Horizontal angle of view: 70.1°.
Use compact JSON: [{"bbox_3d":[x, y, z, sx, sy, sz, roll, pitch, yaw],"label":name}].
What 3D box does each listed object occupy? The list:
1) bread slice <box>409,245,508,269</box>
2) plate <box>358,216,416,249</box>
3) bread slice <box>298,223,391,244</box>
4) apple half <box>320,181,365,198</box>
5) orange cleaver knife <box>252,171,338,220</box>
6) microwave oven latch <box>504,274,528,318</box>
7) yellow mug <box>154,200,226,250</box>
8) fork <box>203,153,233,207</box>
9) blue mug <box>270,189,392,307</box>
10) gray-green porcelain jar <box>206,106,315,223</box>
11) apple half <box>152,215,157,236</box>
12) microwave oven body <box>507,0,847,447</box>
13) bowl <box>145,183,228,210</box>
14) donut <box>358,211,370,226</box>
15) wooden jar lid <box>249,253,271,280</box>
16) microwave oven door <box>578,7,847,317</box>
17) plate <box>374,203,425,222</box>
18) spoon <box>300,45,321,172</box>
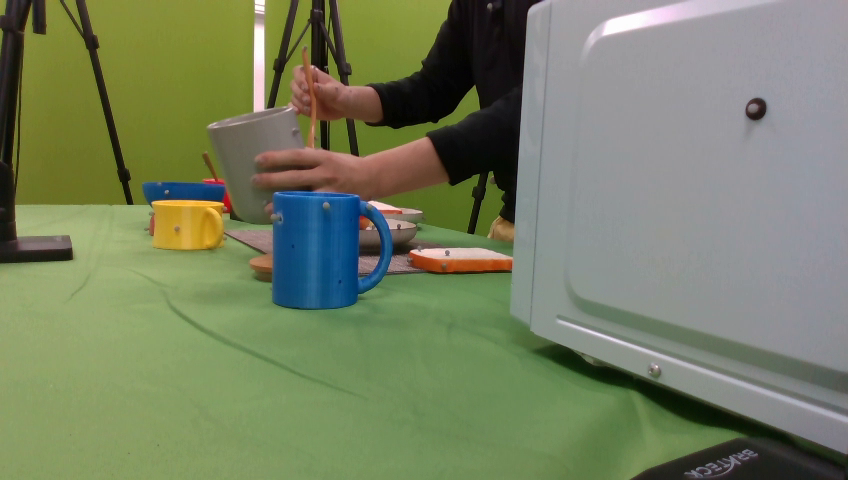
[{"bbox_3d":[0.048,0.021,0.816,0.132,0.019,0.104,-1,7,-24],"label":"bread slice"},{"bbox_3d":[-0.116,-0.014,0.967,0.208,0.039,0.207,2,7,0],"label":"plate"},{"bbox_3d":[-0.121,-0.012,0.971,0.106,0.018,0.135,9,12,42],"label":"bread slice"},{"bbox_3d":[-0.130,-0.077,0.952,0.081,0.033,0.081,4,13,-1],"label":"apple half"},{"bbox_3d":[-0.283,-0.087,1.343,0.212,0.077,0.012,24,-16,-41],"label":"orange cleaver knife"},{"bbox_3d":[0.100,0.041,0.471,0.079,0.029,0.030,-1,7,-28],"label":"microwave oven latch"},{"bbox_3d":[-0.337,-0.023,0.899,0.130,0.064,0.100,8,9,35],"label":"yellow mug"},{"bbox_3d":[-0.480,-0.135,1.411,0.028,0.018,0.207,1,-34,0],"label":"fork"},{"bbox_3d":[-0.089,0.005,0.588,0.117,0.106,0.082,1,7,-10],"label":"blue mug"},{"bbox_3d":[-0.198,-0.093,0.754,0.106,0.126,0.105,-12,20,5],"label":"gray-green porcelain jar"},{"bbox_3d":[-0.415,-0.034,1.017,0.081,0.053,0.074,1,10,-9],"label":"apple half"},{"bbox_3d":[0.331,-0.042,0.425,0.444,0.260,0.324,-2,8,-31],"label":"microwave oven body"},{"bbox_3d":[-0.459,-0.069,1.175,0.151,0.077,0.151,3,7,0],"label":"bowl"},{"bbox_3d":[-0.132,-0.042,0.959,0.099,0.048,0.099,2,7,0],"label":"donut"},{"bbox_3d":[-0.148,0.028,0.708,0.108,0.020,0.108,0,9,0],"label":"wooden jar lid"},{"bbox_3d":[0.294,-0.067,0.571,0.358,0.243,0.039,-3,9,-31],"label":"microwave oven door"},{"bbox_3d":[-0.102,-0.053,1.299,0.209,0.038,0.209,2,8,0],"label":"plate"},{"bbox_3d":[-0.173,-0.200,0.924,0.022,0.193,0.041,-3,0,-13],"label":"spoon"}]
